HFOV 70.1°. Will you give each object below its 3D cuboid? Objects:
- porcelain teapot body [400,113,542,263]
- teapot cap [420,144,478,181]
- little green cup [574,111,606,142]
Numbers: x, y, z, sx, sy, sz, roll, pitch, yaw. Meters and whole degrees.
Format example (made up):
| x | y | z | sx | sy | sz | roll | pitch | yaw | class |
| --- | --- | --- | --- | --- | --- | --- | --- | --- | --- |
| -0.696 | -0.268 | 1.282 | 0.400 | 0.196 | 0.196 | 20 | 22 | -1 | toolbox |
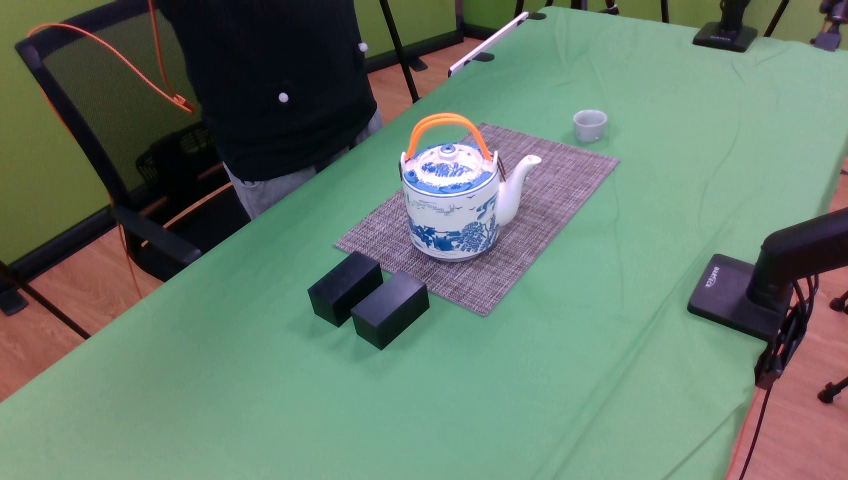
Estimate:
| x | y | z | sx | sy | sz | roll | pitch | yaw | class |
| --- | --- | --- | --- | --- | --- | --- | --- | --- | --- |
| 0.069 | -0.086 | 0.897 | 0.205 | 0.226 | 0.144 | -1 | 40 | 7 | porcelain teapot body |
| 0.036 | -0.114 | 0.874 | 0.085 | 0.044 | 0.085 | -2 | 42 | 3 | teapot cap |
| 0.318 | -0.217 | 1.164 | 0.061 | 0.039 | 0.061 | -3 | 41 | 3 | little green cup |
